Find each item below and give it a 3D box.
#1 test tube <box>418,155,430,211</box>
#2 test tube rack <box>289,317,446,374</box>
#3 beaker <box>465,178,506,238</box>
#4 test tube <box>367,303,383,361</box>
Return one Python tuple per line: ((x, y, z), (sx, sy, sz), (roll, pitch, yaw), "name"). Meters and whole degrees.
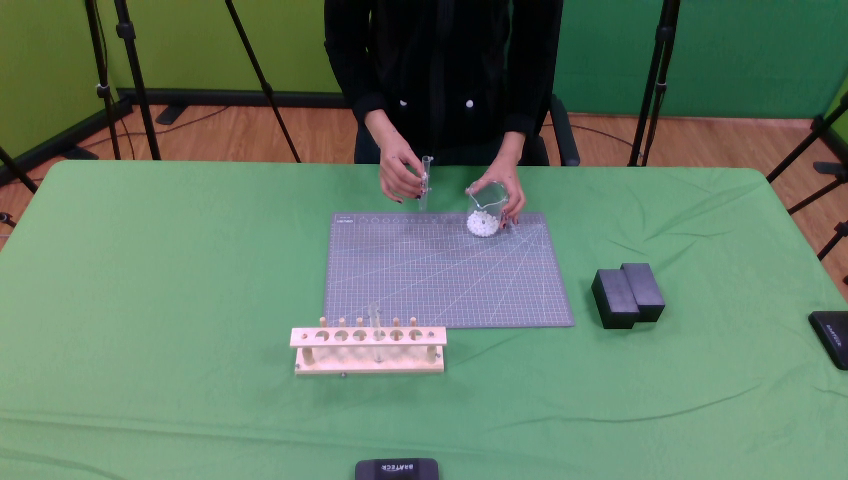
((-0.001, -0.105, 1.160), (0.017, 0.151, 0.017), (2, 53, -3), "test tube")
((-0.089, 0.167, 0.988), (0.242, 0.085, 0.066), (0, 46, -4), "test tube rack")
((0.120, -0.059, 1.209), (0.074, 0.101, 0.083), (16, 48, 12), "beaker")
((-0.075, 0.145, 0.941), (0.017, 0.151, 0.017), (0, 49, 0), "test tube")
